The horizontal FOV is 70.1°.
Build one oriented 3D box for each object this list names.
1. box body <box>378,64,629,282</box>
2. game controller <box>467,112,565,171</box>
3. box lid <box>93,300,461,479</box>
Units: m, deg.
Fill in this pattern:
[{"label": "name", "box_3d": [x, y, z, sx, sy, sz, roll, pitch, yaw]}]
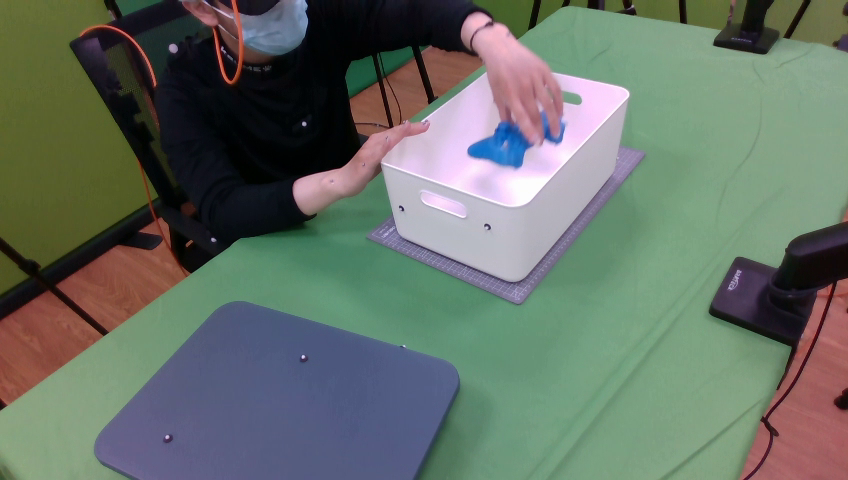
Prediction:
[{"label": "box body", "box_3d": [0.137, -0.121, 0.978, 0.252, 0.161, 0.365, 22, 49, 30]}, {"label": "game controller", "box_3d": [0.149, -0.163, 0.951, 0.156, 0.052, 0.096, -31, 46, -27]}, {"label": "box lid", "box_3d": [-0.164, 0.200, 0.701, 0.369, 0.015, 0.263, 13, 44, 21]}]
